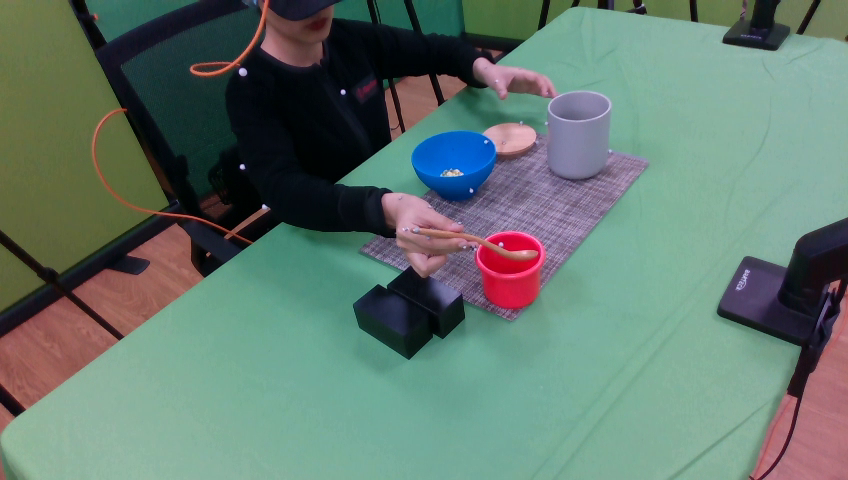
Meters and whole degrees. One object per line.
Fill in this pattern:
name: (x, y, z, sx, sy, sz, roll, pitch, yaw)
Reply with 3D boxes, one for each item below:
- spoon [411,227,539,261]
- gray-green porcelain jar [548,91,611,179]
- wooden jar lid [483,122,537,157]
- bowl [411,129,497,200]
spoon: (0.069, 0.003, 0.785, 0.195, 0.021, 0.041, 15, 3, -27)
gray-green porcelain jar: (0.269, -0.179, 1.056, 0.106, 0.127, 0.105, -6, 40, 5)
wooden jar lid: (0.165, -0.194, 1.177, 0.108, 0.021, 0.108, -4, 40, 4)
bowl: (0.056, -0.124, 1.070, 0.151, 0.077, 0.150, -6, 40, 5)
